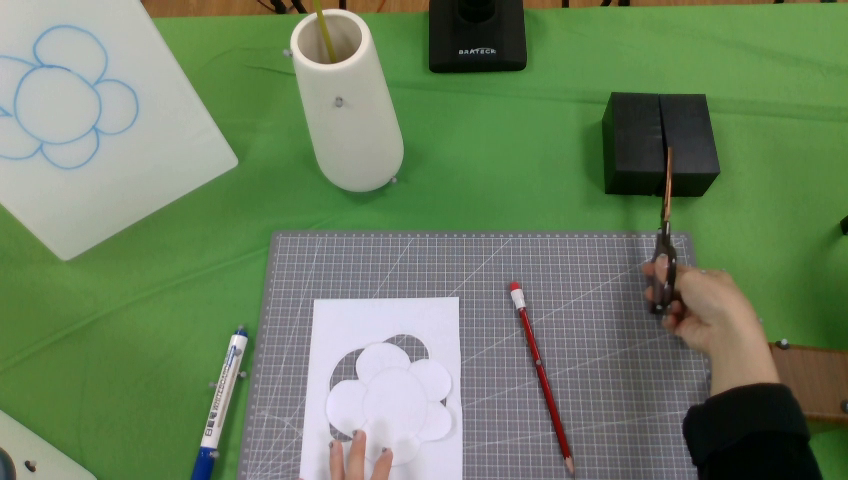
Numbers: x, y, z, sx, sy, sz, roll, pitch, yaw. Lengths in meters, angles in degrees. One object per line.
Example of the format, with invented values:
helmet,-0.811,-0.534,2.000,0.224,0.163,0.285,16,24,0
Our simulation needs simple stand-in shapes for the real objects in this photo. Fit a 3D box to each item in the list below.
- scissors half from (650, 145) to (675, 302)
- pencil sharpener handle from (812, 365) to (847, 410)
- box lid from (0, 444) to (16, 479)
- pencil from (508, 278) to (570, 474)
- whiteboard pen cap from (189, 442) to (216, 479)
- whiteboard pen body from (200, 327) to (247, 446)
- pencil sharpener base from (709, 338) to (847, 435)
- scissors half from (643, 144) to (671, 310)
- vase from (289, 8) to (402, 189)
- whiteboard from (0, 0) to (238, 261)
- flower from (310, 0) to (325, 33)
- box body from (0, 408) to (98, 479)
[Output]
scissors half,0.237,-0.022,0.594,0.013,0.040,0.174,11,64,4
pencil sharpener handle,0.359,0.130,0.513,0.030,0.068,0.035,4,60,1
box lid,-0.500,0.186,0.420,0.370,0.015,0.262,26,69,13
pencil,0.112,0.127,0.587,0.012,0.012,0.192,-13,68,-3
whiteboard pen cap,-0.203,0.203,0.559,0.018,0.018,0.033,6,62,5
whiteboard pen body,-0.196,0.151,0.584,0.017,0.017,0.140,6,65,6
pencil sharpener base,0.308,0.130,0.525,0.077,0.108,0.061,4,65,1
scissors half,0.239,-0.015,0.613,0.013,0.040,0.174,10,81,9
vase,-0.078,-0.134,0.608,0.098,0.201,0.097,-1,65,3
whiteboard,-0.371,-0.169,0.610,0.217,0.309,0.142,-32,49,-11
flower,-0.088,-0.181,0.538,0.044,0.365,0.038,-6,48,3
box body,-0.495,0.218,0.488,0.362,0.161,0.253,26,70,13
